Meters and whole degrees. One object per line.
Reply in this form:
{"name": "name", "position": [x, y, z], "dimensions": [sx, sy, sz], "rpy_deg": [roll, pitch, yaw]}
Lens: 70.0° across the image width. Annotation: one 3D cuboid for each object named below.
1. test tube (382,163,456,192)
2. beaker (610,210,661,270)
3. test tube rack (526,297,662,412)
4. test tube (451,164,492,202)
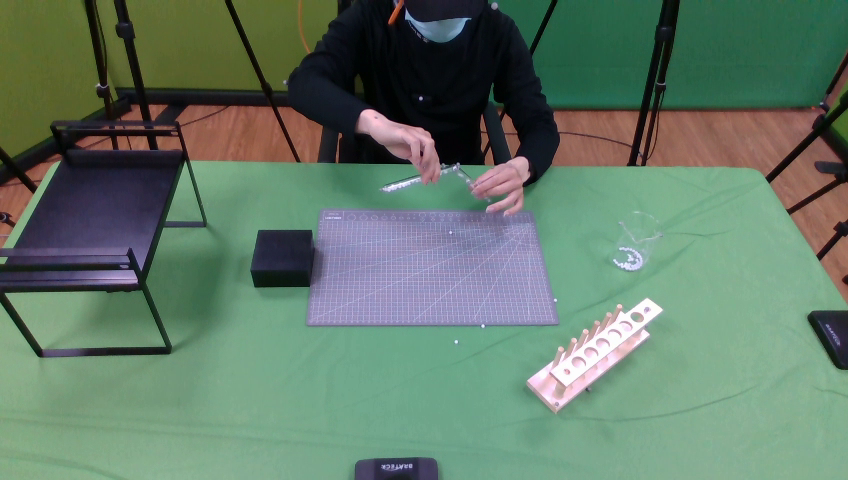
{"name": "test tube", "position": [-0.008, -0.114, 1.098], "dimensions": [0.150, 0.017, 0.017], "rpy_deg": [-20, 51, -21]}
{"name": "beaker", "position": [0.404, 0.005, 1.170], "dimensions": [0.074, 0.101, 0.083], "rpy_deg": [19, 49, 15]}
{"name": "test tube rack", "position": [0.284, 0.176, 1.007], "dimensions": [0.242, 0.085, 0.066], "rpy_deg": [-29, 54, -27]}
{"name": "test tube", "position": [0.096, -0.110, 1.184], "dimensions": [0.017, 0.151, 0.017], "rpy_deg": [-14, 62, 29]}
